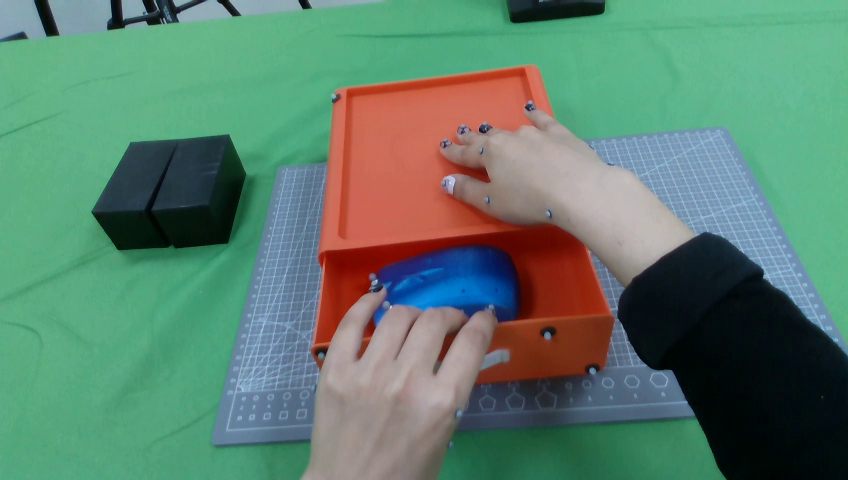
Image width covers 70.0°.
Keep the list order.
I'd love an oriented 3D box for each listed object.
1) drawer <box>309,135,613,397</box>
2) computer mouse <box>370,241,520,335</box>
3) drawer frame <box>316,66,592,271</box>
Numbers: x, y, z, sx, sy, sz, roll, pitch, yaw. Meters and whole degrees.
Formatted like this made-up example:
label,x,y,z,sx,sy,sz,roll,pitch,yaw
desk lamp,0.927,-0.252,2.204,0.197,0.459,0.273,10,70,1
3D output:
label,x,y,z,sx,sy,sz,roll,pitch,yaw
drawer,0.022,0.008,0.472,0.194,0.074,0.209,-7,47,3
computer mouse,0.014,0.036,0.464,0.117,0.041,0.062,-9,50,8
drawer frame,0.018,-0.050,0.525,0.201,0.083,0.211,-7,46,2
